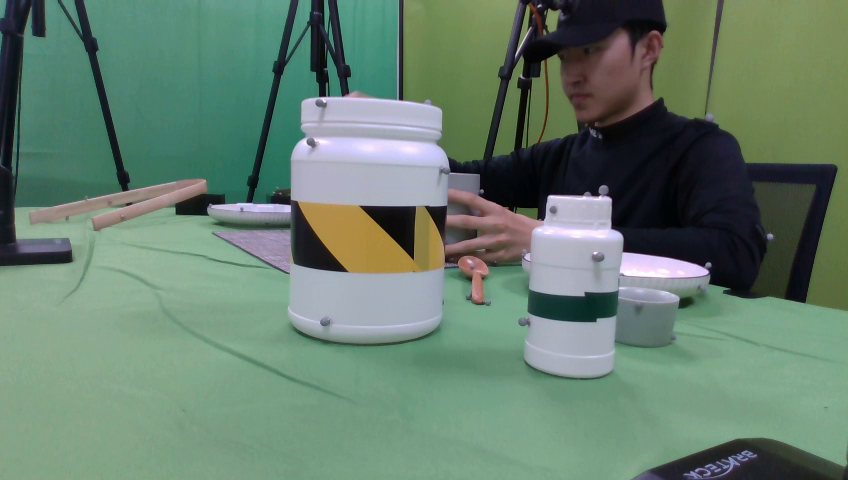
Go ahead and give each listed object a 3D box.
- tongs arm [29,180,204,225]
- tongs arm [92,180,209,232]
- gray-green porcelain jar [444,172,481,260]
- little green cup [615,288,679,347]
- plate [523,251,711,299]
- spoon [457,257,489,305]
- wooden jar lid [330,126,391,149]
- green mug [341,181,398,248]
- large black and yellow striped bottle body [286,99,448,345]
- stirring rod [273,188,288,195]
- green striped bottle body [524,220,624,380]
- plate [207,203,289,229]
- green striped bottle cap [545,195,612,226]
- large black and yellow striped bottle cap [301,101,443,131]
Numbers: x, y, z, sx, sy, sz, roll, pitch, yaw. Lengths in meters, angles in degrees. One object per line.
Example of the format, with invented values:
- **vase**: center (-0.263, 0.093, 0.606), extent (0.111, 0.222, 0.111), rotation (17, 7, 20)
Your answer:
- **tongs arm**: center (-0.609, -0.083, 1.245), extent (0.050, 0.026, 0.386), rotation (5, 16, 23)
- **tongs arm**: center (-0.534, -0.076, 1.221), extent (0.028, 0.028, 0.388), rotation (-2, 15, 12)
- **gray-green porcelain jar**: center (0.029, -0.038, 0.892), extent (0.106, 0.126, 0.106), rotation (2, 7, 0)
- **little green cup**: center (0.180, 0.064, 0.506), extent (0.061, 0.038, 0.061), rotation (2, 7, 0)
- **plate**: center (0.219, 0.042, 0.706), extent (0.209, 0.038, 0.209), rotation (2, 7, 0)
- **spoon**: center (0.059, 0.044, 0.696), extent (0.041, 0.021, 0.194), rotation (19, 7, 0)
- **wooden jar lid**: center (-0.113, -0.180, 1.065), extent (0.108, 0.020, 0.108), rotation (12, 3, 0)
- **green mug**: center (-0.090, -0.043, 0.996), extent (0.093, 0.105, 0.125), rotation (0, 6, -9)
- **large black and yellow striped bottle body**: center (-0.047, -0.018, 0.501), extent (0.131, 0.184, 0.130), rotation (2, 7, 0)
- **stirring rod**: center (-0.353, -0.122, 1.519), extent (0.006, 0.014, 0.176), rotation (1, 7, 1)
- **green striped bottle body**: center (0.104, 0.031, 0.422), extent (0.063, 0.119, 0.063), rotation (2, 8, 0)
- **plate**: center (-0.342, -0.050, 1.259), extent (0.208, 0.039, 0.207), rotation (2, 7, 0)
- **green striped bottle cap**: center (0.106, -0.020, 0.414), extent (0.044, 0.020, 0.044), rotation (2, 4, 0)
- **large black and yellow striped bottle cap**: center (-0.042, -0.100, 0.491), extent (0.115, 0.019, 0.115), rotation (1, 8, 0)
